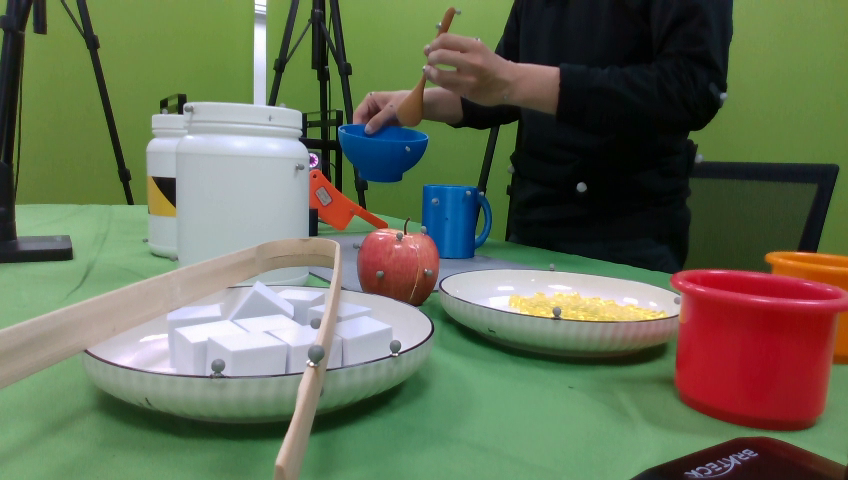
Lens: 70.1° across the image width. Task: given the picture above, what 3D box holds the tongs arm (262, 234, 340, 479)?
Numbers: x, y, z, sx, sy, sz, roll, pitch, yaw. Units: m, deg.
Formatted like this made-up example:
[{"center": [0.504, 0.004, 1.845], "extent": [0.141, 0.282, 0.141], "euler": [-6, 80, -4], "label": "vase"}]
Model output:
[{"center": [-0.074, 0.039, 0.349], "extent": [0.051, 0.026, 0.384], "euler": [-2, 10, -3], "label": "tongs arm"}]

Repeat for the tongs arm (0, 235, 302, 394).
[{"center": [-0.157, 0.038, 0.351], "extent": [0.028, 0.028, 0.388], "euler": [-3, 9, 12], "label": "tongs arm"}]

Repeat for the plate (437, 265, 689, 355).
[{"center": [0.114, 0.057, 0.517], "extent": [0.209, 0.038, 0.209], "euler": [3, 8, 0], "label": "plate"}]

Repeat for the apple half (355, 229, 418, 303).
[{"center": [-0.043, 0.027, 0.564], "extent": [0.081, 0.081, 0.033], "euler": [9, 5, 42], "label": "apple half"}]

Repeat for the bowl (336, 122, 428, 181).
[{"center": [-0.071, -0.145, 1.004], "extent": [0.151, 0.077, 0.151], "euler": [5, 20, -2], "label": "bowl"}]

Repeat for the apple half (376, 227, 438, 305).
[{"center": [-0.017, 0.026, 0.593], "extent": [0.080, 0.074, 0.054], "euler": [4, 2, 43], "label": "apple half"}]

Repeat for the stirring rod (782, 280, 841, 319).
[{"center": [0.344, 0.019, 0.460], "extent": [0.014, 0.006, 0.176], "euler": [-13, -27, -30], "label": "stirring rod"}]

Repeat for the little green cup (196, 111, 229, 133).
[{"center": [-0.403, -0.225, 1.154], "extent": [0.061, 0.038, 0.061], "euler": [3, 8, 0], "label": "little green cup"}]

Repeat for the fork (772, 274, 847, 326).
[{"center": [0.332, 0.018, 0.442], "extent": [0.028, 0.018, 0.207], "euler": [-1, -36, -15], "label": "fork"}]

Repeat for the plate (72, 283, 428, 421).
[{"center": [-0.102, 0.066, 0.381], "extent": [0.208, 0.039, 0.207], "euler": [2, 7, 0], "label": "plate"}]

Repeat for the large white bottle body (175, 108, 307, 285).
[{"center": [-0.188, -0.042, 0.630], "extent": [0.131, 0.184, 0.130], "euler": [2, 8, 0], "label": "large white bottle body"}]

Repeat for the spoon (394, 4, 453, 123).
[{"center": [0.001, -0.242, 0.850], "extent": [0.041, 0.193, 0.021], "euler": [26, 37, 0], "label": "spoon"}]

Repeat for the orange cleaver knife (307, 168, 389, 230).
[{"center": [-0.158, -0.060, 1.166], "extent": [0.212, 0.077, 0.012], "euler": [34, -12, -32], "label": "orange cleaver knife"}]

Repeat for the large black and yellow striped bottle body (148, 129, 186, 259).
[{"center": [-0.310, -0.073, 0.838], "extent": [0.131, 0.184, 0.130], "euler": [2, 8, 0], "label": "large black and yellow striped bottle body"}]

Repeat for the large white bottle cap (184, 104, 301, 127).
[{"center": [-0.184, -0.126, 0.618], "extent": [0.115, 0.018, 0.115], "euler": [2, 8, 0], "label": "large white bottle cap"}]

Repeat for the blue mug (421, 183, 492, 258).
[{"center": [0.052, -0.032, 0.912], "extent": [0.117, 0.106, 0.082], "euler": [-1, 8, -24], "label": "blue mug"}]

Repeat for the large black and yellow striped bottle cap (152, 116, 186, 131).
[{"center": [-0.309, -0.155, 0.826], "extent": [0.115, 0.019, 0.115], "euler": [3, 6, 0], "label": "large black and yellow striped bottle cap"}]
